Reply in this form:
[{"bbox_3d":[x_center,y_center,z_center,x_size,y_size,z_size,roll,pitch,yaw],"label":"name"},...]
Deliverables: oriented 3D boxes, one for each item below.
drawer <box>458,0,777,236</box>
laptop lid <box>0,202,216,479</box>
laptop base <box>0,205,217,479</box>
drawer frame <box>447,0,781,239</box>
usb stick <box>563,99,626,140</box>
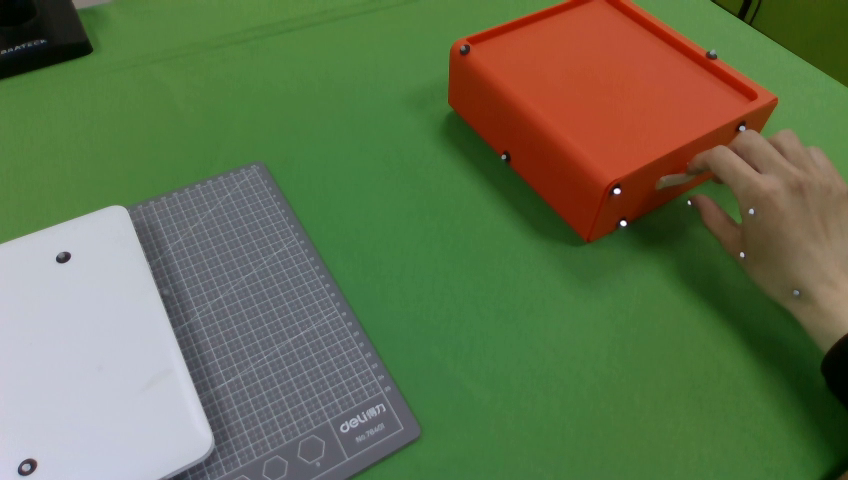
[{"bbox_3d":[0.164,-0.127,0.554,0.194,0.074,0.209,-27,57,-19],"label":"drawer"},{"bbox_3d":[-0.336,0.115,0.378,0.357,0.013,0.239,-23,58,-18],"label":"laptop lid"},{"bbox_3d":[-0.338,0.120,0.389,0.355,0.023,0.233,-24,60,-19],"label":"laptop base"},{"bbox_3d":[0.161,-0.128,0.554,0.202,0.083,0.211,-27,56,-20],"label":"drawer frame"},{"bbox_3d":[0.162,-0.114,0.568,0.059,0.027,0.021,-12,53,-10],"label":"usb stick"}]
